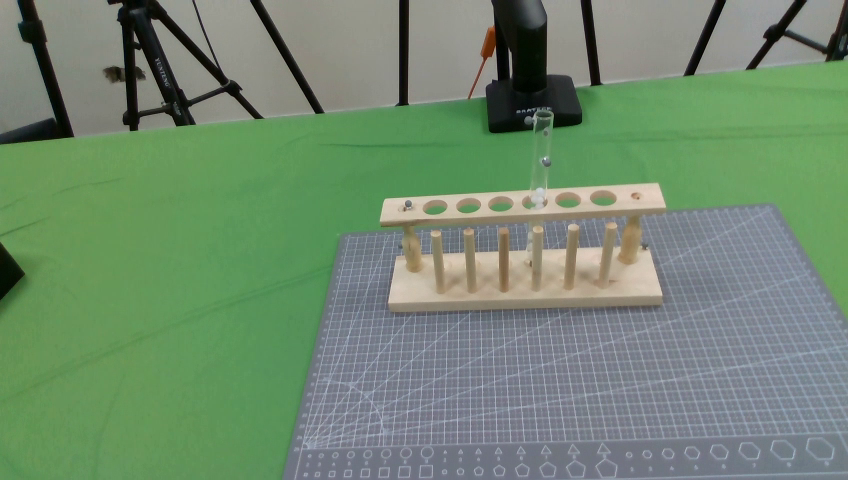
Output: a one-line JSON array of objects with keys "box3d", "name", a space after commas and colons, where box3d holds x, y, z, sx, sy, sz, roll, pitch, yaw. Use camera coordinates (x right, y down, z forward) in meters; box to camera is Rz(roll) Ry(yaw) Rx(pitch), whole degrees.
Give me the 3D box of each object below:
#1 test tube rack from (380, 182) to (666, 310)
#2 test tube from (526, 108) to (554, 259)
[{"box3d": [0.086, 0.007, 0.544, 0.242, 0.086, 0.066, -2, 41, 8], "name": "test tube rack"}, {"box3d": [0.099, -0.043, 0.523, 0.017, 0.151, 0.017, -2, 38, 2], "name": "test tube"}]
